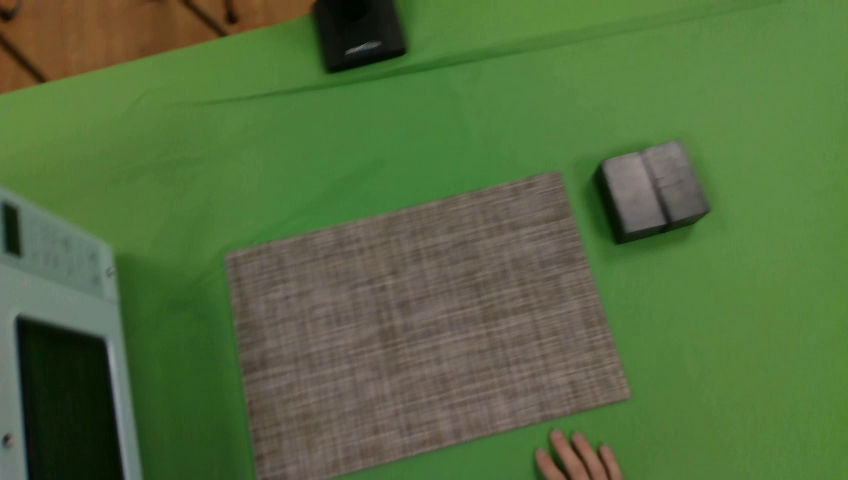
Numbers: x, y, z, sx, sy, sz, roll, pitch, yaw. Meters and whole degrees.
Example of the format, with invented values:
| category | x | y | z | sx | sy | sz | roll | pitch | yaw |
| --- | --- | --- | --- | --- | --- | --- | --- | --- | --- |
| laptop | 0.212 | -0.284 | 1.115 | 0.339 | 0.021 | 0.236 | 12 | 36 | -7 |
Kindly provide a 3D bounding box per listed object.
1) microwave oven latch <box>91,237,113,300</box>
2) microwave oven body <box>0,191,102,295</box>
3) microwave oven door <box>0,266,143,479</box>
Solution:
| category | x | y | z | sx | sy | sz | roll | pitch | yaw |
| --- | --- | --- | --- | --- | --- | --- | --- | --- | --- |
| microwave oven latch | -0.409 | 0.038 | 0.751 | 0.030 | 0.029 | 0.078 | -15 | 75 | -3 |
| microwave oven body | -0.508 | 0.214 | 0.605 | 0.326 | 0.261 | 0.439 | -16 | 75 | -3 |
| microwave oven door | -0.356 | 0.212 | 0.596 | 0.039 | 0.245 | 0.353 | -16 | 74 | -2 |
